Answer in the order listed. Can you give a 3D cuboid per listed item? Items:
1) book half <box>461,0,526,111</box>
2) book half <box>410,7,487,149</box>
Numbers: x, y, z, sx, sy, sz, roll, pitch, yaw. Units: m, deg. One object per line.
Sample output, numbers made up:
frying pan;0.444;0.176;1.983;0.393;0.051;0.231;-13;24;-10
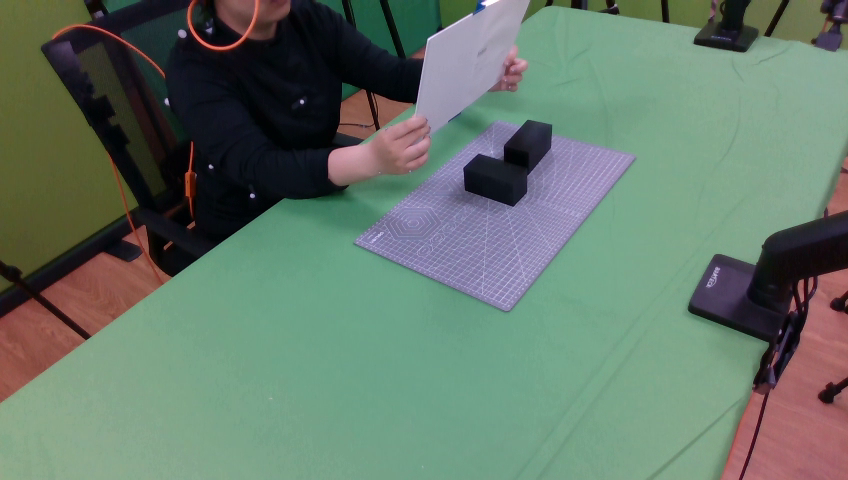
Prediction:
book half;0.119;-0.338;1.046;0.016;0.210;0.149;35;54;18
book half;0.037;-0.254;0.964;0.007;0.210;0.143;37;55;18
